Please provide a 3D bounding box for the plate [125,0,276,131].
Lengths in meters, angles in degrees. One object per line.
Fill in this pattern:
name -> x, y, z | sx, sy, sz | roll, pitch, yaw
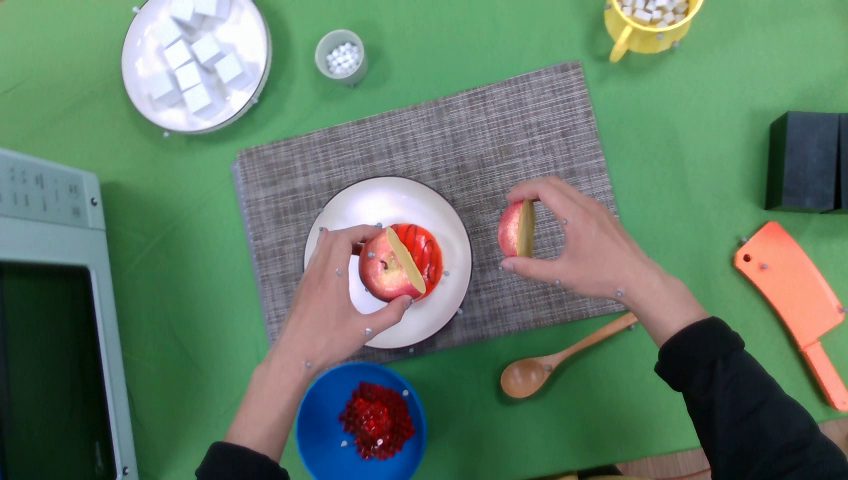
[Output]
plate -> -0.288, -0.242, 0.794 | 0.207, 0.039, 0.207 | -1, 86, 10

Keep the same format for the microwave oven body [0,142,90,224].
microwave oven body -> -0.572, 0.136, 0.702 | 0.326, 0.261, 0.440 | -11, 85, 9

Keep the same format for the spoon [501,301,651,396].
spoon -> 0.176, 0.122, 0.696 | 0.194, 0.022, 0.041 | -31, 67, 7

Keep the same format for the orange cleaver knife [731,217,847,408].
orange cleaver knife -> 0.415, 0.076, 0.658 | 0.077, 0.012, 0.210 | -28, 80, 1

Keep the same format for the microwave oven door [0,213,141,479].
microwave oven door -> -0.424, 0.149, 0.670 | 0.039, 0.244, 0.355 | -11, 84, 9

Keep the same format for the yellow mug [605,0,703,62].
yellow mug -> 0.251, -0.260, 0.686 | 0.099, 0.064, 0.131 | 35, 93, 10

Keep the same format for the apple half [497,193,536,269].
apple half -> 0.088, -0.011, 0.607 | 0.032, 0.082, 0.081 | 4, 86, 22

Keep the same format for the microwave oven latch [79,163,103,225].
microwave oven latch -> -0.442, -0.058, 0.790 | 0.030, 0.029, 0.079 | -9, 85, 9

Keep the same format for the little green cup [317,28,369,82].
little green cup -> -0.098, -0.229, 0.760 | 0.061, 0.039, 0.061 | -1, 86, 10

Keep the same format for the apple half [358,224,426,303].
apple half -> -0.039, 0.030, 0.624 | 0.053, 0.074, 0.081 | -31, 89, 10

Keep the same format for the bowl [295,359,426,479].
bowl -> -0.065, 0.210, 0.705 | 0.151, 0.077, 0.151 | -1, 86, 10

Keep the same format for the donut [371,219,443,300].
donut -> -0.027, 0.024, 0.716 | 0.099, 0.048, 0.099 | 0, 89, 10

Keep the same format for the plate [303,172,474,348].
plate -> -0.042, 0.023, 0.730 | 0.209, 0.038, 0.208 | -1, 86, 10
